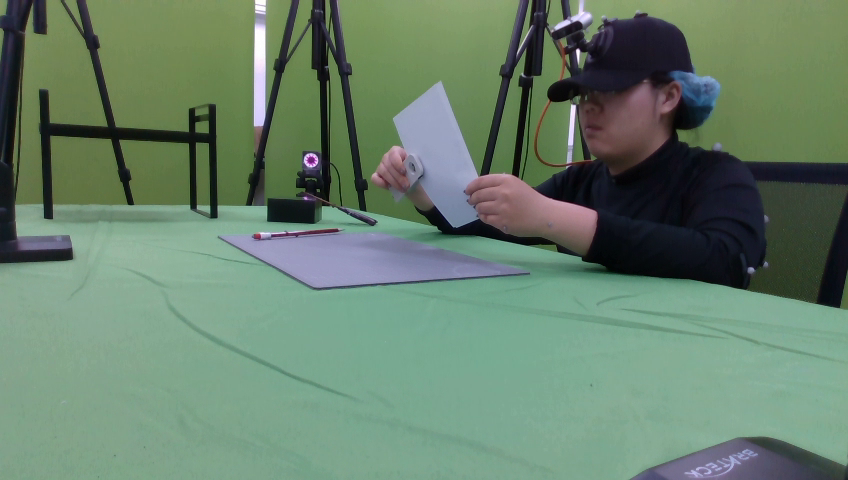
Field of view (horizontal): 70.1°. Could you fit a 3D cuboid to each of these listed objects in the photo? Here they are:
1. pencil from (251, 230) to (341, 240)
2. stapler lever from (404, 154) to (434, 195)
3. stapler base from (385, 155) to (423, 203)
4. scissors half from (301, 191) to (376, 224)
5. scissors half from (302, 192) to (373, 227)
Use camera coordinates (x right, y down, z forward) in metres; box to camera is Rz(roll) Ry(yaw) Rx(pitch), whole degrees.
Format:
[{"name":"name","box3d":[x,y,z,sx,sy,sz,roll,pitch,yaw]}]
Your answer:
[{"name":"pencil","box3d":[-0.215,-0.011,1.049,0.012,0.012,0.195,9,9,39]},{"name":"stapler lever","box3d":[-0.015,-0.112,1.038,0.040,0.027,0.118,-22,-9,-21]},{"name":"stapler base","box3d":[-0.029,-0.106,1.029,0.024,0.041,0.130,-21,-9,-29]},{"name":"scissors half","box3d":[-0.189,-0.073,1.334,0.175,0.013,0.040,22,11,-10]},{"name":"scissors half","box3d":[-0.191,-0.069,1.314,0.175,0.013,0.040,26,16,7]}]
